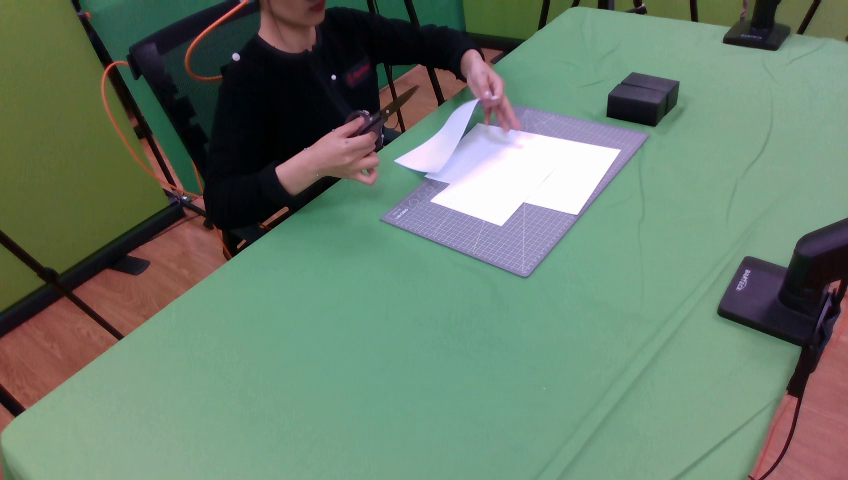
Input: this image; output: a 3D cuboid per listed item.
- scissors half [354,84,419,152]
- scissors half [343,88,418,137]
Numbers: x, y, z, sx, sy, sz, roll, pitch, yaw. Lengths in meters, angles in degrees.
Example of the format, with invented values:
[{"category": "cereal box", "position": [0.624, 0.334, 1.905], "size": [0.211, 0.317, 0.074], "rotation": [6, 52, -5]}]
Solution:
[{"category": "scissors half", "position": [-0.061, -0.200, 0.996], "size": [0.040, 0.174, 0.013], "rotation": [47, 40, -3]}, {"category": "scissors half", "position": [-0.073, -0.215, 0.993], "size": [0.174, 0.040, 0.013], "rotation": [-20, 22, 36]}]
